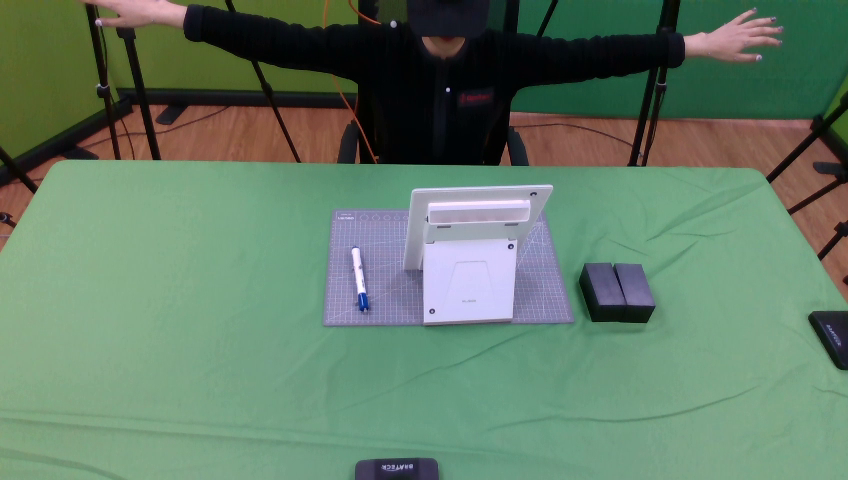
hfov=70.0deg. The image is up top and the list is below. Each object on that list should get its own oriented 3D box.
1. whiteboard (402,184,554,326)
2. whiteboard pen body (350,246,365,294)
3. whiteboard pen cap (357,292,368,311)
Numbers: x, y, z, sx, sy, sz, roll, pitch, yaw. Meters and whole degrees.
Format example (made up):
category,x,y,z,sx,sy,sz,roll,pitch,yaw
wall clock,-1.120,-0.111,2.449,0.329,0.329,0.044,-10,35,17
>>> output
category,x,y,z,sx,sy,sz,roll,pitch,yaw
whiteboard,0.081,0.044,1.005,0.217,0.306,0.143,-1,66,-6
whiteboard pen body,-0.121,0.066,1.121,0.017,0.017,0.140,-6,49,-9
whiteboard pen cap,-0.110,0.110,1.083,0.018,0.018,0.033,-5,48,-9
